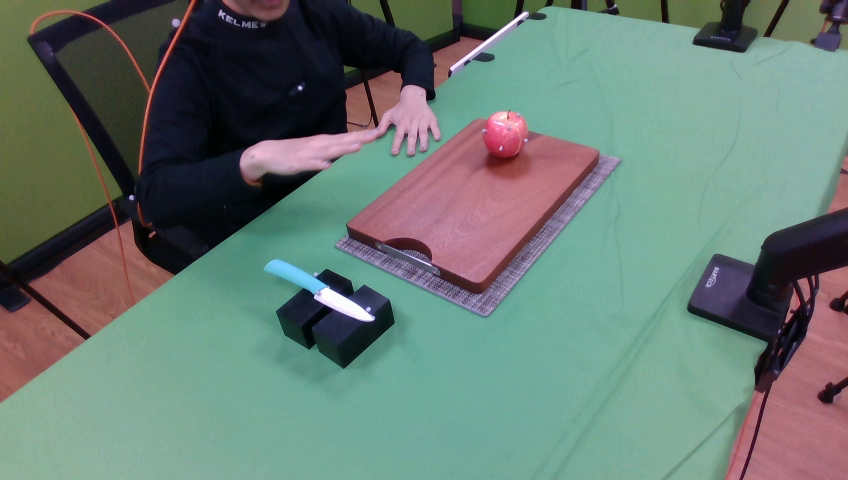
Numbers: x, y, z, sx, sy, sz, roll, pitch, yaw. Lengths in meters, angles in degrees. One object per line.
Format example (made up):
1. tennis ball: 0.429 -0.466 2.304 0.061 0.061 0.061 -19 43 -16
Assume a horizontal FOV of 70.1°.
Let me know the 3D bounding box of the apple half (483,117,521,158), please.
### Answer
1. apple half: 0.131 -0.175 1.069 0.080 0.081 0.033 24 48 32

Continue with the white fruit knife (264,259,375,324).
1. white fruit knife: -0.146 0.070 0.839 0.206 0.016 0.027 24 78 29

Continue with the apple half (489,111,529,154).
1. apple half: 0.156 -0.197 1.091 0.080 0.075 0.053 21 44 34
